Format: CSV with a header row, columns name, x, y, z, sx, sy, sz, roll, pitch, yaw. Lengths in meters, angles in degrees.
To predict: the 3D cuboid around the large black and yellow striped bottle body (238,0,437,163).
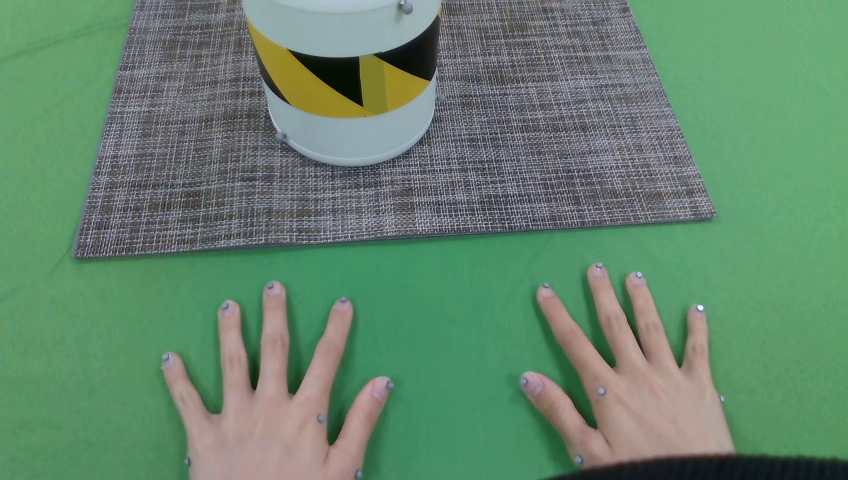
name,x,y,z,sx,sy,sz,roll,pitch,yaw
large black and yellow striped bottle body,-0.056,-0.156,0.406,0.131,0.185,0.129,1,58,-2
